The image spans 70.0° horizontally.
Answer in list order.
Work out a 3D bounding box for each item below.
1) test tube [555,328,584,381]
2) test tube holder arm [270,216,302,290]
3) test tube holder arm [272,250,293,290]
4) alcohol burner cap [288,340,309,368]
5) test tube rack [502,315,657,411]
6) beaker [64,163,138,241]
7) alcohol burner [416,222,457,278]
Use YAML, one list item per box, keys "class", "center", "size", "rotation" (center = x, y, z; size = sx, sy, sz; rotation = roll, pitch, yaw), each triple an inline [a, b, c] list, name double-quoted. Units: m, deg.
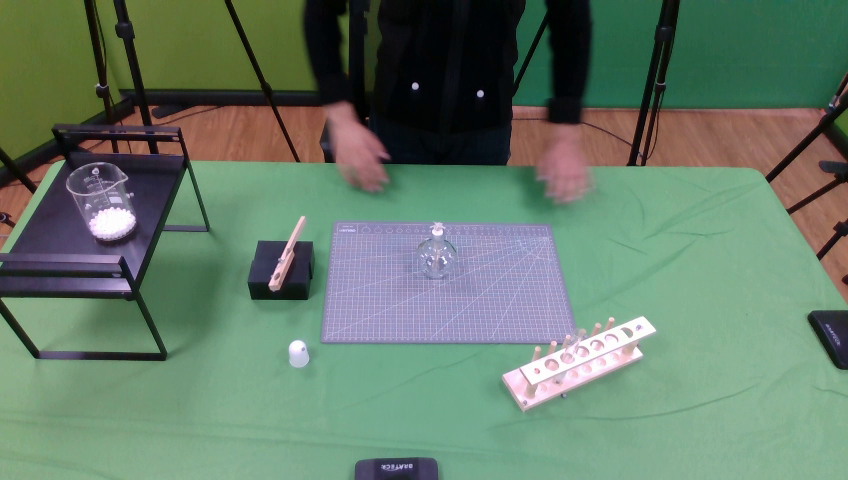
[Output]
- class: "test tube"
  center: [0.221, 0.178, 0.926]
  size: [0.017, 0.151, 0.017]
  rotation: [1, 51, 0]
- class: "test tube holder arm"
  center: [-0.248, 0.019, 1.095]
  size: [0.013, 0.015, 0.177]
  rotation: [7, 45, 1]
- class: "test tube holder arm"
  center: [-0.248, 0.051, 1.063]
  size: [0.010, 0.015, 0.087]
  rotation: [8, 45, 3]
- class: "alcohol burner cap"
  center: [-0.207, 0.183, 0.991]
  size: [0.034, 0.048, 0.033]
  rotation: [3, 46, -3]
- class: "test tube rack"
  center: [0.253, 0.186, 0.989]
  size: [0.242, 0.085, 0.066]
  rotation: [-18, 50, -20]
- class: "beaker"
  center: [-0.477, -0.055, 0.910]
  size: [0.084, 0.101, 0.073]
  rotation: [-9, 48, -13]
- class: "alcohol burner"
  center: [0.024, 0.013, 1.116]
  size: [0.078, 0.120, 0.077]
  rotation: [1, 45, -1]
